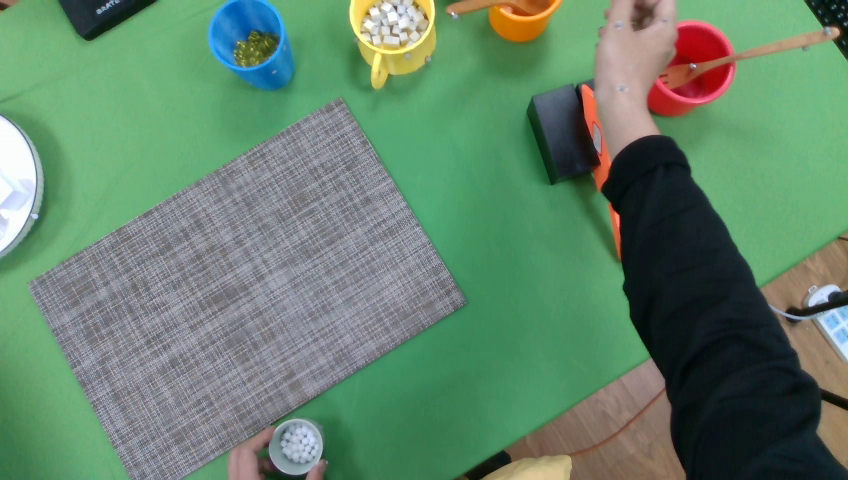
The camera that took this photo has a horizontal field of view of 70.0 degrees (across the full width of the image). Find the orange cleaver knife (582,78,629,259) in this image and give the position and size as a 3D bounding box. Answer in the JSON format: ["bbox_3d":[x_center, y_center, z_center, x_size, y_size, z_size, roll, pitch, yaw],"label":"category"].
[{"bbox_3d":[0.208,-0.080,0.701,0.012,0.076,0.213,-16,114,2],"label":"orange cleaver knife"}]

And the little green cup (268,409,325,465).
[{"bbox_3d":[-0.146,0.227,0.705,0.061,0.039,0.061,0,85,5],"label":"little green cup"}]

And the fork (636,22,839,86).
[{"bbox_3d":[0.340,-0.207,0.677,0.206,0.019,0.028,-7,79,43],"label":"fork"}]

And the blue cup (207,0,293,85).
[{"bbox_3d":[-0.196,-0.228,0.714,0.092,0.100,0.092,0,85,0],"label":"blue cup"}]

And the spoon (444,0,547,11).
[{"bbox_3d":[0.084,-0.275,0.688,0.021,0.194,0.041,-39,81,42],"label":"spoon"}]

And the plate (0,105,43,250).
[{"bbox_3d":[-0.564,-0.072,0.740,0.207,0.039,0.207,0,85,1],"label":"plate"}]

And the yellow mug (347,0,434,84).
[{"bbox_3d":[-0.043,-0.252,0.730,0.100,0.064,0.130,17,87,3],"label":"yellow mug"}]
